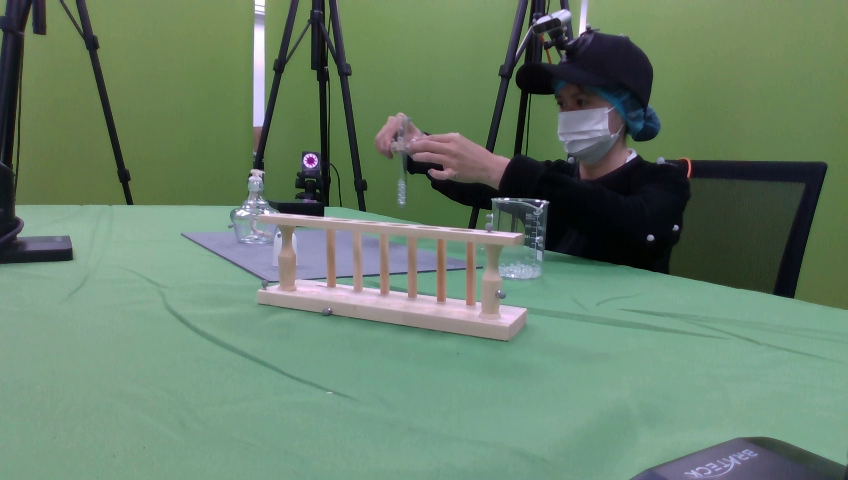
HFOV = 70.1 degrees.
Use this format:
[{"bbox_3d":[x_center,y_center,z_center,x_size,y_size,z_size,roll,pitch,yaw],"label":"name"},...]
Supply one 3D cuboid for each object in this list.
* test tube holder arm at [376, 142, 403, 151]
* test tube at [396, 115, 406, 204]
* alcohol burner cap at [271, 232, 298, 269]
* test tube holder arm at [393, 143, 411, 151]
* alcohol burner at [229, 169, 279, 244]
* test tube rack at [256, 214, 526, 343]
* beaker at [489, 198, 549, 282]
[{"bbox_3d":[-0.063,-0.165,1.069,0.013,0.015,0.178,2,7,-18],"label":"test tube holder arm"},{"bbox_3d":[-0.039,-0.133,1.014,0.017,0.150,0.017,1,15,0],"label":"test tube"},{"bbox_3d":[-0.175,0.012,0.760,0.034,0.048,0.034,2,8,0],"label":"alcohol burner cap"},{"bbox_3d":[-0.043,-0.159,1.030,0.010,0.015,0.087,1,8,-25],"label":"test tube holder arm"},{"bbox_3d":[-0.268,-0.053,0.958,0.078,0.119,0.078,2,5,0],"label":"alcohol burner"},{"bbox_3d":[-0.032,0.027,0.547,0.241,0.085,0.067,5,7,22],"label":"test tube rack"},{"bbox_3d":[0.120,-0.001,0.768,0.074,0.100,0.083,-1,9,-25],"label":"beaker"}]
